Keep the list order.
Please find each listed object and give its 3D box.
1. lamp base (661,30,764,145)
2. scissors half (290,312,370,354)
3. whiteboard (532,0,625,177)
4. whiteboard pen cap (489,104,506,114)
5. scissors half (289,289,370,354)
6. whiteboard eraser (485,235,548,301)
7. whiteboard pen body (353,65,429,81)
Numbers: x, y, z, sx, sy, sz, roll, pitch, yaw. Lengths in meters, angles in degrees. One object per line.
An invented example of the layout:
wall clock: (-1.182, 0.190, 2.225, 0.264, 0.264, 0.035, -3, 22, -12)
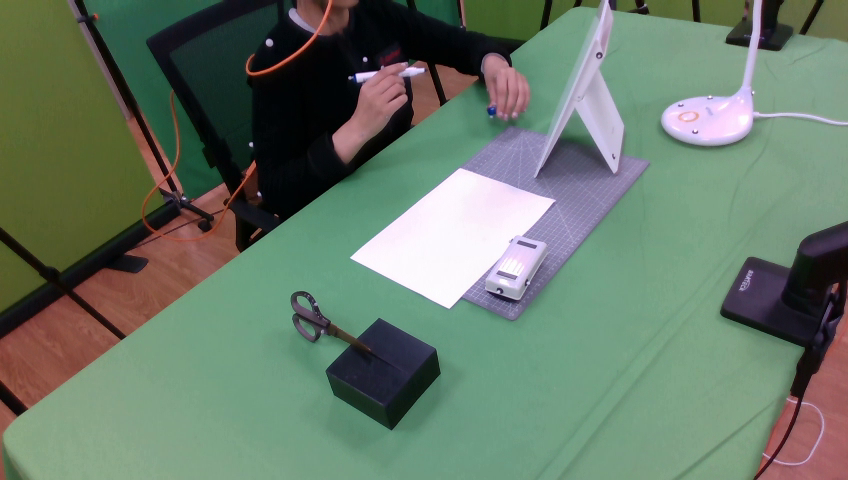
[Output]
lamp base: (0.535, -0.287, 1.096, 0.179, 0.181, 0.159, -10, 40, -4)
scissors half: (-0.128, 0.129, 0.816, 0.013, 0.040, 0.173, -23, 22, -40)
whiteboard: (0.320, -0.259, 1.050, 0.144, 0.306, 0.217, 21, 45, 5)
whiteboard pen cap: (0.146, -0.260, 1.204, 0.033, 0.018, 0.018, -13, 40, -14)
scissors half: (-0.128, 0.110, 0.808, 0.173, 0.040, 0.013, 30, 32, 36)
whiteboard eraser: (0.137, 0.042, 0.887, 0.055, 0.042, 0.113, 15, 46, 27)
whiteboard pen body: (-0.060, -0.306, 1.105, 0.141, 0.017, 0.017, -10, 40, -8)
